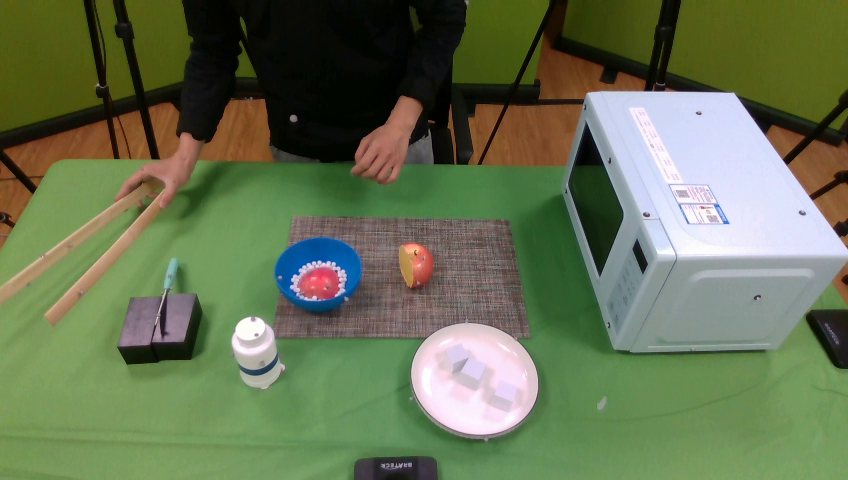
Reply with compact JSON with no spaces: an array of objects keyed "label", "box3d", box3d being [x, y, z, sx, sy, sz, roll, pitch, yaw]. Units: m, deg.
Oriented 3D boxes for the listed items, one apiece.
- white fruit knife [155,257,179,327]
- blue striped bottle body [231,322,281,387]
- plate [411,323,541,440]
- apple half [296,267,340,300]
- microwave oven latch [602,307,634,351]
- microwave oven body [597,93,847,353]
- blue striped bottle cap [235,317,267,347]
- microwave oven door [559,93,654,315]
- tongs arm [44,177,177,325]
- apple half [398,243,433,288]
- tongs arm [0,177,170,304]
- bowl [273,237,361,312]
[{"label":"white fruit knife","box3d":[-0.440,0.085,1.037,0.016,0.027,0.206,11,26,-19]},{"label":"blue striped bottle body","box3d":[-0.262,0.172,0.944,0.063,0.121,0.062,2,46,-2]},{"label":"plate","box3d":[0.082,0.228,0.976,0.208,0.039,0.206,2,45,-2]},{"label":"apple half","box3d":[-0.186,0.071,1.067,0.081,0.033,0.081,2,47,-2]},{"label":"microwave oven latch","box3d":[0.332,0.153,1.044,0.030,0.029,0.078,-1,45,-4]},{"label":"microwave oven body","box3d":[0.475,-0.041,1.109,0.326,0.261,0.438,-1,45,-4]},{"label":"blue striped bottle cap","box3d":[-0.260,0.137,0.907,0.044,0.021,0.044,2,43,-2]},{"label":"microwave oven door","box3d":[0.327,-0.074,1.123,0.039,0.245,0.353,-1,46,-5]},{"label":"tongs arm","box3d":[-0.540,0.004,1.076,0.028,0.028,0.385,-1,38,16]},{"label":"apple half","box3d":[-0.012,0.046,1.115,0.053,0.075,0.080,-11,44,-19]},{"label":"tongs arm","box3d":[-0.608,-0.006,1.098,0.050,0.027,0.383,9,41,22]},{"label":"bowl","box3d":[-0.186,0.075,1.069,0.151,0.077,0.150,3,45,-3]}]
